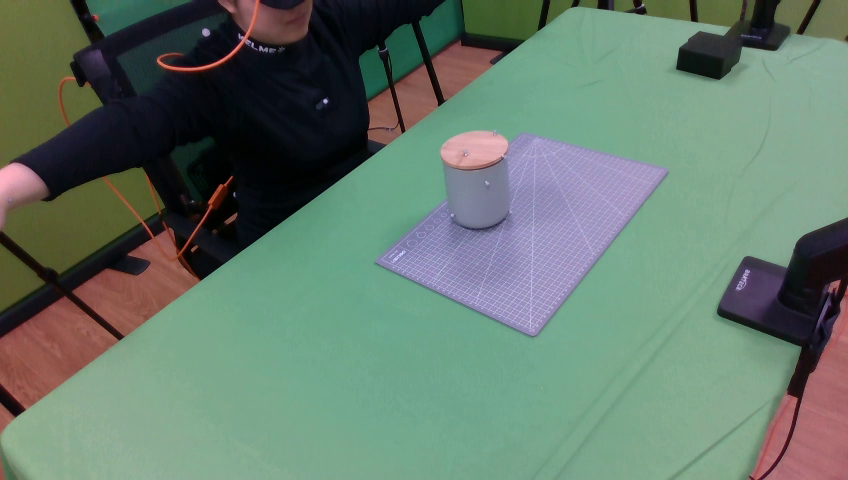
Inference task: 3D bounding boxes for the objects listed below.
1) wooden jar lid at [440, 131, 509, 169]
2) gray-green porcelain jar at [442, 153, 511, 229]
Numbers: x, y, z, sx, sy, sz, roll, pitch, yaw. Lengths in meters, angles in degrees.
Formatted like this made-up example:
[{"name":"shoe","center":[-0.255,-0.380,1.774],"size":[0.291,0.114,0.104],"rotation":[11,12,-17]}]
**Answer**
[{"name":"wooden jar lid","center":[0.079,-0.137,0.948],"size":[0.108,0.021,0.108],"rotation":[-5,38,5]},{"name":"gray-green porcelain jar","center":[0.088,-0.091,0.988],"size":[0.106,0.127,0.105],"rotation":[-5,40,5]}]
